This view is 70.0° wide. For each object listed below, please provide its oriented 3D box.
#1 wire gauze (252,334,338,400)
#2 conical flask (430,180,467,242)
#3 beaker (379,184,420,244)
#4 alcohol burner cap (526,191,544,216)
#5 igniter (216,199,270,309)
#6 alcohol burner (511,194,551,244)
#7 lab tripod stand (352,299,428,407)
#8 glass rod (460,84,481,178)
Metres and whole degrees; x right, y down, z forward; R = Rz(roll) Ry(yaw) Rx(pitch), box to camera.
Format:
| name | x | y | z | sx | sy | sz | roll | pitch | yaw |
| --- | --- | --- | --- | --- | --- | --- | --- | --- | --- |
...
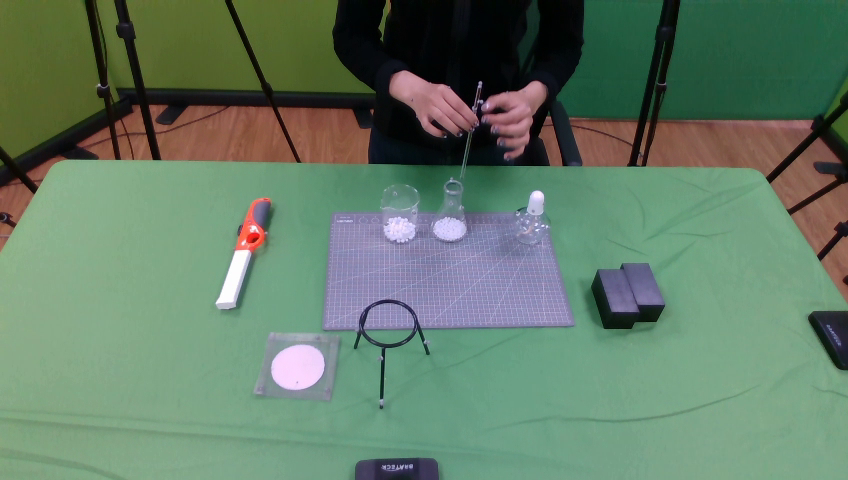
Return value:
| name | x | y | z | sx | sy | sz | roll | pitch | yaw |
| --- | --- | --- | --- | --- | --- | --- | --- | --- | --- |
| wire gauze | -0.209 | 0.204 | 0.996 | 0.125 | 0.011 | 0.120 | 3 | 45 | 1 |
| conical flask | 0.052 | -0.060 | 1.188 | 0.075 | 0.122 | 0.075 | 2 | 46 | -2 |
| beaker | -0.050 | -0.047 | 1.184 | 0.084 | 0.101 | 0.073 | -27 | 53 | -26 |
| alcohol burner cap | 0.216 | -0.073 | 1.170 | 0.034 | 0.048 | 0.033 | 0 | 42 | 0 |
| igniter | -0.342 | 0.016 | 1.153 | 0.057 | 0.025 | 0.275 | -3 | 45 | 7 |
| alcohol burner | 0.215 | -0.048 | 1.196 | 0.078 | 0.119 | 0.077 | 4 | 46 | -4 |
| lab tripod stand | -0.056 | 0.166 | 0.958 | 0.148 | 0.132 | 0.147 | 3 | 44 | -2 |
| glass rod | 0.081 | -0.185 | 1.061 | 0.008 | 0.200 | 0.008 | 4 | 47 | -4 |
